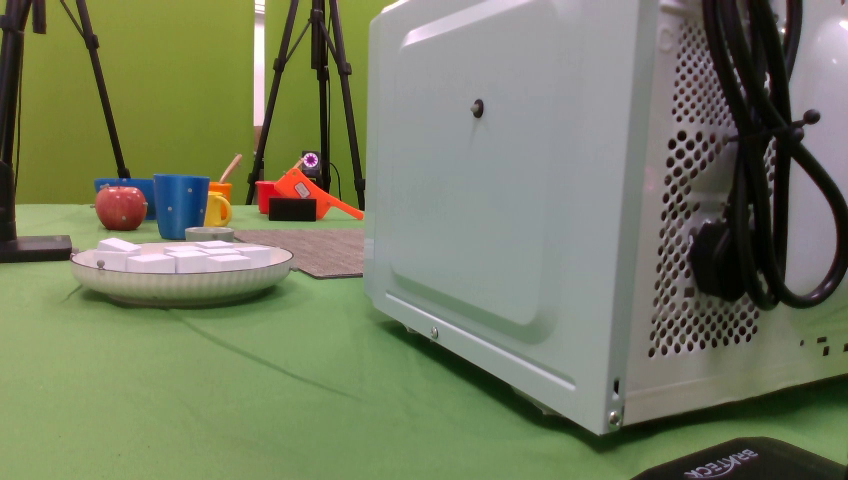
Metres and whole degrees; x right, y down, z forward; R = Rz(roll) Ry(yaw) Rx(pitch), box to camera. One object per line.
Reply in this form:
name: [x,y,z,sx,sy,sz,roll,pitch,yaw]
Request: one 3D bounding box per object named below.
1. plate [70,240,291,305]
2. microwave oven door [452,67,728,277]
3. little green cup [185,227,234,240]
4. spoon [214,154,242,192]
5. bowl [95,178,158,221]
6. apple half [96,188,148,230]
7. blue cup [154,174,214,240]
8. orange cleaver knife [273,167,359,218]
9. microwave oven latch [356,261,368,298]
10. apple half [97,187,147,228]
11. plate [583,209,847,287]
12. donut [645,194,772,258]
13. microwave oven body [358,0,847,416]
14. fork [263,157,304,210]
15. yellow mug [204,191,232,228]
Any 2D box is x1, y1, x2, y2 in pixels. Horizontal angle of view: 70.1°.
plate: [-0.242,0.031,0.618,0.208,0.039,0.207,2,8,0]
microwave oven door: [0.197,-0.094,0.800,0.354,0.243,0.039,7,9,36]
little green cup: [-0.285,0.005,0.805,0.061,0.038,0.061,2,8,0]
spoon: [-0.439,-0.124,1.318,0.041,0.193,0.022,6,-36,16]
bowl: [-0.576,-0.081,1.217,0.151,0.077,0.151,3,8,0]
apple half: [-0.517,-0.052,1.036,0.081,0.074,0.053,2,10,-26]
blue cup: [-0.391,-0.053,0.978,0.093,0.100,0.092,3,6,0]
orange cleaver knife: [-0.238,-0.090,1.381,0.212,0.077,0.012,31,0,-19]
microwave oven latch: [-0.020,0.033,0.529,0.079,0.029,0.030,0,7,-25]
apple half: [-0.534,-0.059,1.071,0.082,0.081,0.032,-1,11,-25]
plate: [0.240,0.004,0.510,0.209,0.038,0.209,2,10,0]
donut: [0.242,-0.012,0.519,0.099,0.048,0.099,-1,15,1]
microwave oven body: [0.210,-0.047,0.475,0.444,0.260,0.324,-1,7,-28]
fork: [-0.345,-0.143,1.505,0.028,0.019,0.207,-4,46,29]
yellow mug: [-0.415,-0.057,1.131,0.130,0.064,0.100,6,7,16]
